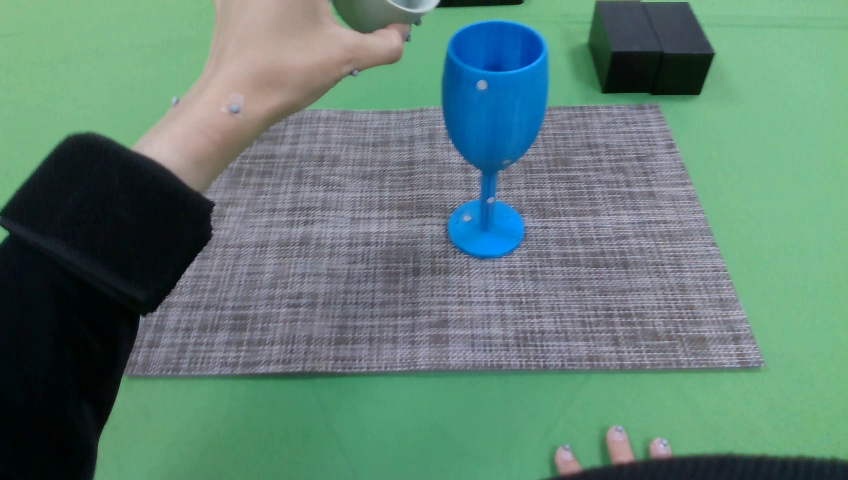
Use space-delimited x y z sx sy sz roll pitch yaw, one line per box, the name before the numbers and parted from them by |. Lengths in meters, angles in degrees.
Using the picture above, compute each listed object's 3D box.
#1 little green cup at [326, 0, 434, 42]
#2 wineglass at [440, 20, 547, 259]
little green cup | -0.028 -0.150 0.359 0.062 0.038 0.061 14 64 -31
wineglass | 0.047 -0.065 0.443 0.074 0.174 0.073 -1 49 1
